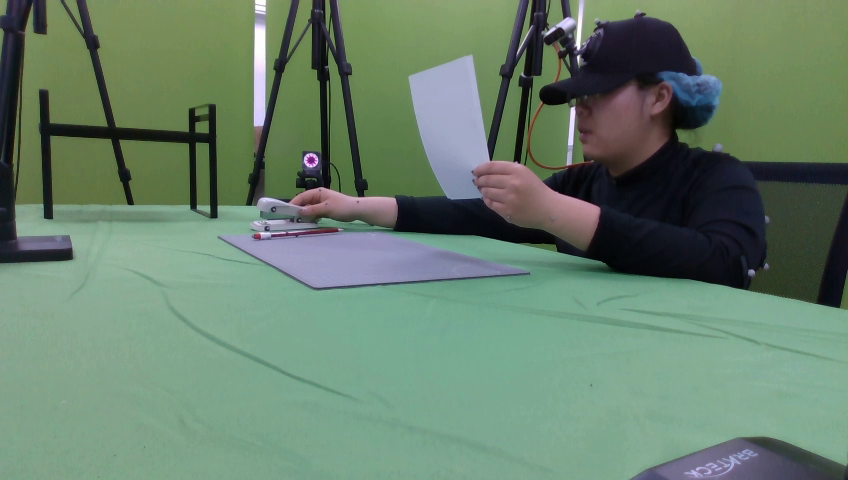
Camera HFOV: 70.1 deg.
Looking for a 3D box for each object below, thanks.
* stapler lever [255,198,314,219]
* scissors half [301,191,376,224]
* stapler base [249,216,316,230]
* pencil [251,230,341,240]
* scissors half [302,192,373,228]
[{"bbox_3d":[-0.267,-0.060,1.163,0.119,0.040,0.026,-3,21,-43],"label":"stapler lever"},{"bbox_3d":[-0.189,-0.073,1.334,0.175,0.013,0.040,22,12,-10],"label":"scissors half"},{"bbox_3d":[-0.272,-0.037,1.168,0.131,0.024,0.041,-2,21,-43],"label":"stapler base"},{"bbox_3d":[-0.215,-0.011,1.049,0.012,0.012,0.195,9,9,39],"label":"pencil"},{"bbox_3d":[-0.191,-0.068,1.314,0.175,0.013,0.040,26,17,7],"label":"scissors half"}]
